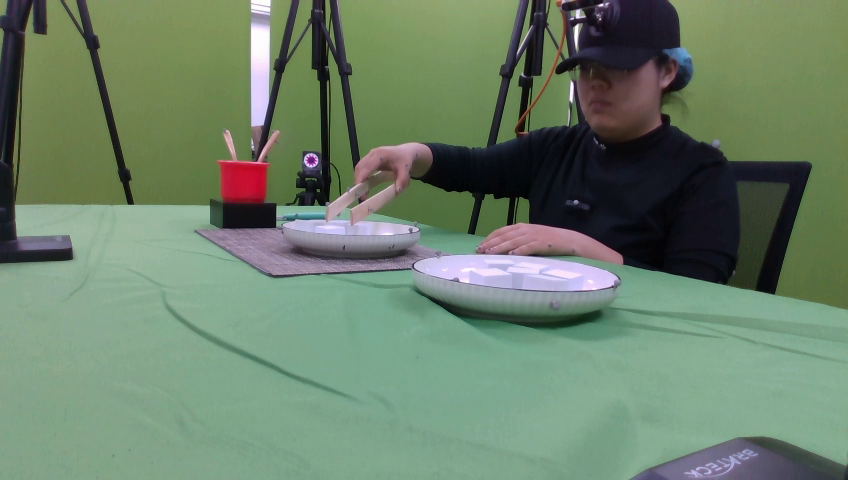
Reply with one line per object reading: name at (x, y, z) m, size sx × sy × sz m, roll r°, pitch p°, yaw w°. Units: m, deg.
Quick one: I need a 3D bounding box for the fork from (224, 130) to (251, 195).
fork at (-0.372, -0.155, 1.193) m, size 0.028 × 0.018 × 0.206 m, roll -17°, pitch 54°, yaw -13°

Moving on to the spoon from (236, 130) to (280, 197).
spoon at (-0.321, -0.154, 1.192) m, size 0.041 × 0.193 × 0.022 m, roll 0°, pitch -37°, yaw 19°

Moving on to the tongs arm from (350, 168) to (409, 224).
tongs arm at (-0.070, -0.083, 1.046) m, size 0.028 × 0.028 × 0.388 m, roll 1°, pitch 15°, yaw 11°

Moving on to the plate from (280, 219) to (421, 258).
plate at (-0.108, -0.002, 0.902) m, size 0.208 × 0.039 × 0.207 m, roll 3°, pitch 7°, yaw 0°

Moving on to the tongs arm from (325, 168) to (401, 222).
tongs arm at (-0.094, -0.086, 1.050) m, size 0.051 × 0.026 × 0.385 m, roll 4°, pitch 16°, yaw 6°

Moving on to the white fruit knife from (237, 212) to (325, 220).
white fruit knife at (-0.304, -0.050, 1.328) m, size 0.208 × 0.016 × 0.027 m, roll -3°, pitch -19°, yaw -29°

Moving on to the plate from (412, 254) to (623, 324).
plate at (0.090, 0.047, 0.609) m, size 0.209 × 0.038 × 0.209 m, roll 2°, pitch 7°, yaw 0°
